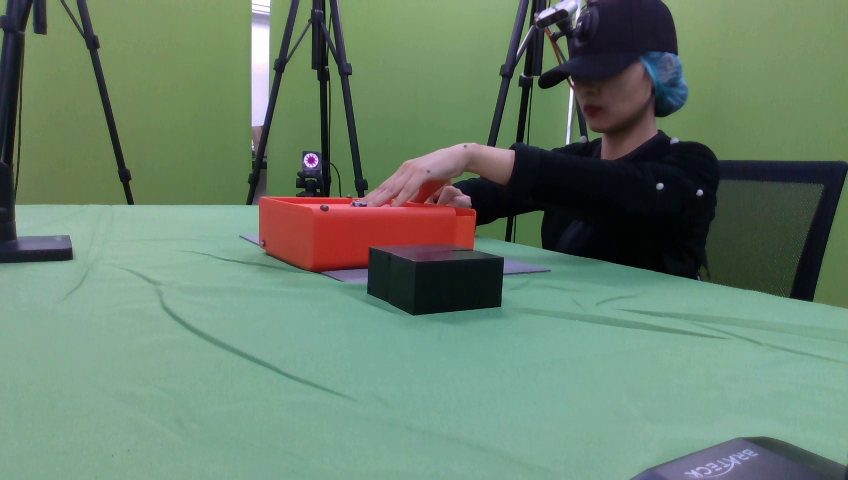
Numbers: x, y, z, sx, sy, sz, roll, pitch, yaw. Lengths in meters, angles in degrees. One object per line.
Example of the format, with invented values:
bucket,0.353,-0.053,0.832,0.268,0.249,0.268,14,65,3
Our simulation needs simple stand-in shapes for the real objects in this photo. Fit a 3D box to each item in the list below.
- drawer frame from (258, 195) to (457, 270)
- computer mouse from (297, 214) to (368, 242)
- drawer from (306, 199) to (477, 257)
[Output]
drawer frame,-0.095,-0.018,0.845,0.215,0.082,0.200,-3,10,-34
computer mouse,-0.156,-0.021,1.032,0.118,0.041,0.062,-9,15,-39
drawer,-0.064,-0.018,0.867,0.213,0.073,0.193,-3,10,-34
